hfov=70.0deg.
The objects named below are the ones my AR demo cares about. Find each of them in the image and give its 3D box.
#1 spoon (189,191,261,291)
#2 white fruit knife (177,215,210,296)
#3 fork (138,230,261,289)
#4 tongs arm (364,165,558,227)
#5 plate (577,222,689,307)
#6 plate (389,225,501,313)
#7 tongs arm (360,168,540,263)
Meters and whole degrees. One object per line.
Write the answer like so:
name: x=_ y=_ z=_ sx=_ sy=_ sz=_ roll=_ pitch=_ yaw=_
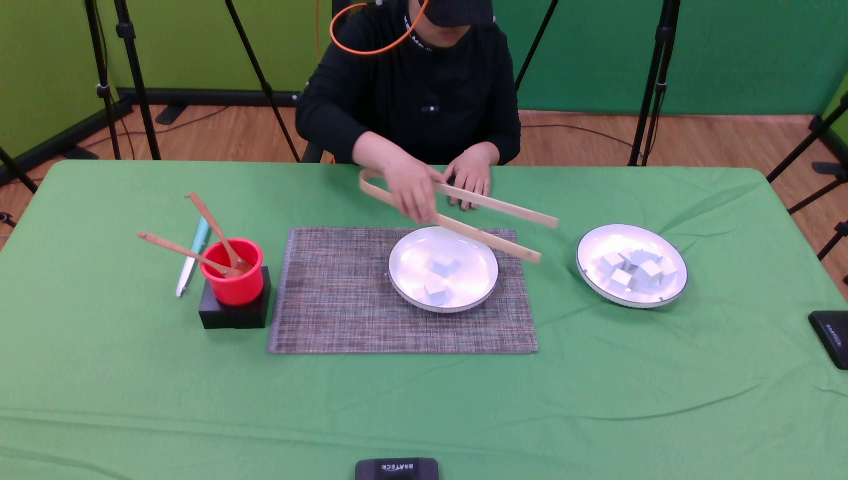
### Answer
spoon: x=-0.333 y=0.001 z=1.012 sx=0.041 sy=0.194 sz=0.021 roll=-34 pitch=15 yaw=-25
white fruit knife: x=-0.435 y=0.025 z=1.148 sx=0.027 sy=0.016 sz=0.206 roll=-18 pitch=45 yaw=18
fork: x=-0.359 y=0.032 z=0.981 sx=0.208 sy=0.018 sz=0.028 roll=31 pitch=60 yaw=-30
tongs arm: x=0.066 y=-0.086 z=1.158 sx=0.387 sy=0.028 sz=0.028 roll=17 pitch=50 yaw=12
plate: x=0.396 y=0.050 z=1.165 sx=0.209 sy=0.038 sz=0.208 roll=2 pitch=47 yaw=-2
plate: x=0.038 y=0.057 z=1.129 sx=0.208 sy=0.039 sz=0.206 roll=2 pitch=46 yaw=-2
tongs arm: x=0.039 y=-0.049 z=1.118 sx=0.384 sy=0.026 sz=0.050 roll=22 pitch=47 yaw=17
